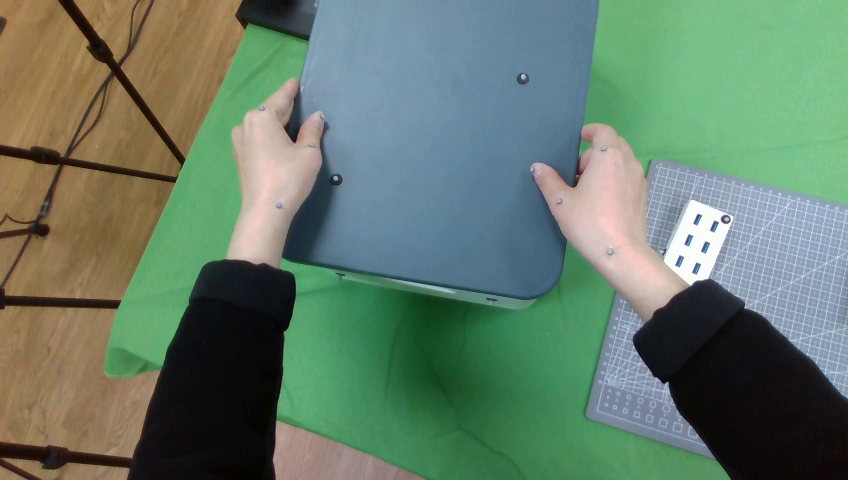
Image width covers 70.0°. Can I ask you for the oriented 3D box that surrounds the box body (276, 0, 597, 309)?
[{"bbox_3d":[0.026,-0.122,0.640,0.254,0.161,0.362,10,79,8],"label":"box body"}]

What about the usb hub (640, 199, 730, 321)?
[{"bbox_3d":[0.280,0.021,0.650,0.049,0.025,0.125,25,82,10],"label":"usb hub"}]

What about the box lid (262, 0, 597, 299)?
[{"bbox_3d":[0.013,-0.140,0.553,0.263,0.015,0.370,9,78,6],"label":"box lid"}]
